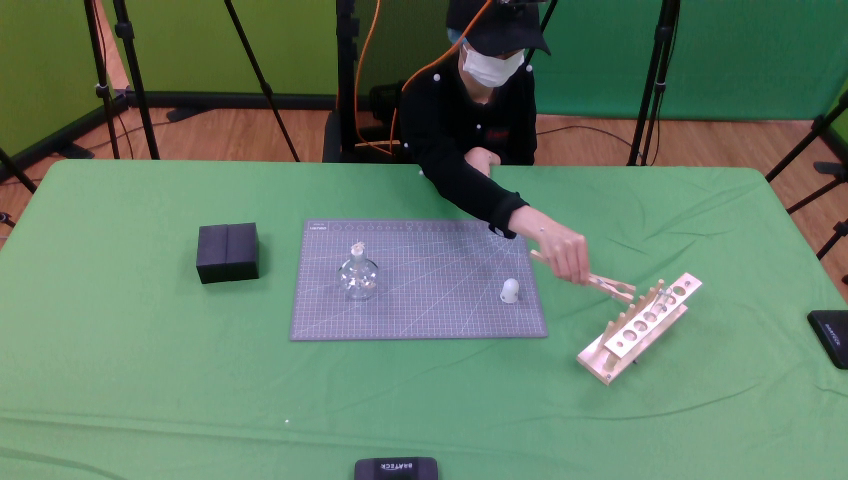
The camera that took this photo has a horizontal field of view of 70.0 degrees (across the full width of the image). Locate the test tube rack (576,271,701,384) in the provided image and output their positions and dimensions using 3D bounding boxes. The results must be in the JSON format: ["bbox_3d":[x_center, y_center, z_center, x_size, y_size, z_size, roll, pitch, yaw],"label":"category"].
[{"bbox_3d":[0.373,0.138,1.047,0.242,0.085,0.066,-31,56,-29],"label":"test tube rack"}]

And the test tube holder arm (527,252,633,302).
[{"bbox_3d":[0.255,0.059,0.999,0.178,0.015,0.013,22,47,12],"label":"test tube holder arm"}]

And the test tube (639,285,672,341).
[{"bbox_3d":[0.375,0.123,0.994,0.017,0.151,0.017,1,50,-1],"label":"test tube"}]

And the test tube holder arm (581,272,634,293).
[{"bbox_3d":[0.299,0.070,0.995,0.088,0.015,0.010,14,47,5],"label":"test tube holder arm"}]

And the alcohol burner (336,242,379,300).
[{"bbox_3d":[-0.118,0.050,1.072,0.078,0.120,0.077,2,44,-1],"label":"alcohol burner"}]

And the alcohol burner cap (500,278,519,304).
[{"bbox_3d":[0.157,0.090,1.104,0.034,0.048,0.033,2,45,-2],"label":"alcohol burner cap"}]
